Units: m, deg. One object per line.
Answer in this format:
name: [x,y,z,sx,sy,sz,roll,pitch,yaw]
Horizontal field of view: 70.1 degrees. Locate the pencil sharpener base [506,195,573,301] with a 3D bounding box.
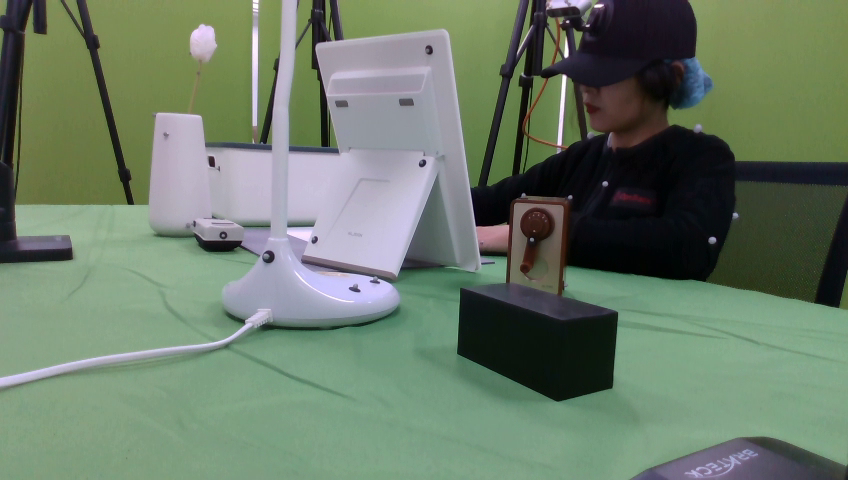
pencil sharpener base: [0.127,0.007,0.663,0.061,0.107,0.077,5,8,15]

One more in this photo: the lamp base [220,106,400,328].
lamp base: [-0.101,-0.023,0.531,0.160,0.180,0.179,4,10,10]

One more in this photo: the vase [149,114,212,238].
vase: [-0.405,-0.106,1.005,0.098,0.200,0.098,2,6,0]

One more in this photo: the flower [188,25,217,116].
flower: [-0.394,-0.189,1.011,0.044,0.361,0.038,-1,-13,27]

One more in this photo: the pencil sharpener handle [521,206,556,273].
pencil sharpener handle: [0.112,0.000,0.613,0.036,0.067,0.031,13,10,14]

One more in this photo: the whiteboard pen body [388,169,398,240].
whiteboard pen body: [-0.056,-0.064,1.080,0.017,0.140,0.017,-2,-25,-1]

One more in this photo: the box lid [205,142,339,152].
box lid: [-0.270,-0.196,1.311,0.373,0.015,0.262,-2,9,-30]

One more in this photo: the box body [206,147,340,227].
box body: [-0.276,-0.122,1.320,0.366,0.160,0.253,-2,9,-30]

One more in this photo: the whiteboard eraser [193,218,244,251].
whiteboard eraser: [-0.307,-0.009,0.900,0.056,0.042,0.112,-4,10,-28]

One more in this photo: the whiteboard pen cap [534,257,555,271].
whiteboard pen cap: [0.166,0.033,0.839,0.018,0.018,0.033,-1,6,-23]

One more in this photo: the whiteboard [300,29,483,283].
whiteboard: [-0.074,-0.082,0.742,0.216,0.305,0.144,9,29,38]
